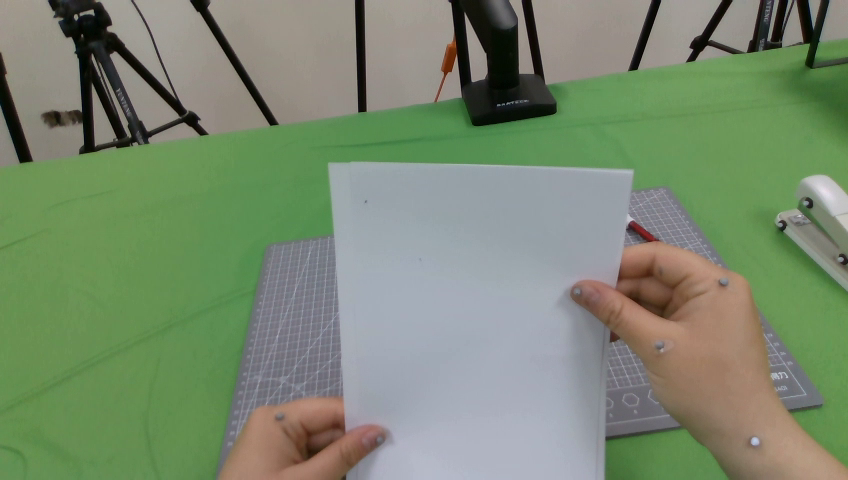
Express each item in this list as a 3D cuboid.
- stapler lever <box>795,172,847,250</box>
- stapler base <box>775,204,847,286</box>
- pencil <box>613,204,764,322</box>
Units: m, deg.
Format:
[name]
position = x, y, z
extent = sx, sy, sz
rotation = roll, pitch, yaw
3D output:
[stapler lever]
position = 0.375, -0.018, 0.537
extent = 0.027, 0.040, 0.117
rotation = -13, 40, -2
[stapler base]
position = 0.378, 0.001, 0.554
extent = 0.041, 0.025, 0.129
rotation = -13, 40, -2
[pencil]
position = 0.240, 0.016, 0.567
extent = 0.012, 0.012, 0.192
rotation = -20, 40, -14
